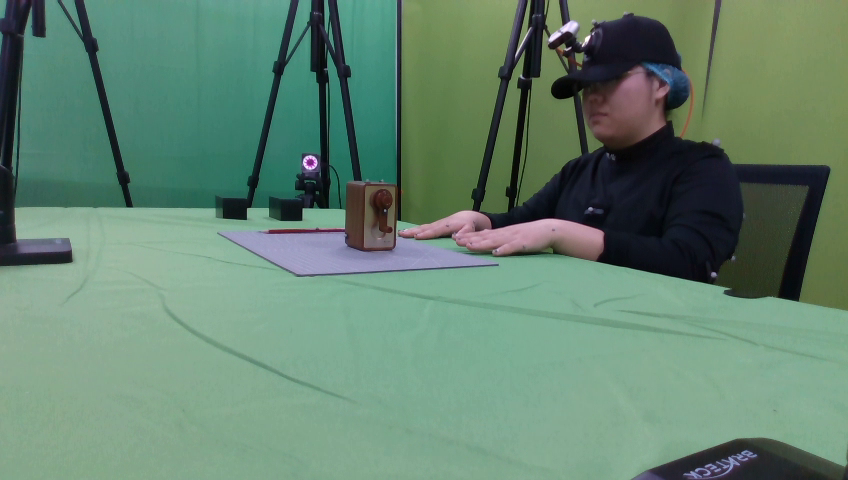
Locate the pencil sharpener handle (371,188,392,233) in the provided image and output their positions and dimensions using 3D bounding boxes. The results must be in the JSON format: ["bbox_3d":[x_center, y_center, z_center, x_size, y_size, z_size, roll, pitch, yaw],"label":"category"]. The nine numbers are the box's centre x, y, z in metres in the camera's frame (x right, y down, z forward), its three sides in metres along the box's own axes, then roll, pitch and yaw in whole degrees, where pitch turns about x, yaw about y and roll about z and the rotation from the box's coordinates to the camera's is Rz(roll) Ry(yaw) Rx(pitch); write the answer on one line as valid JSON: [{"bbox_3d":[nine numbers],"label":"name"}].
[{"bbox_3d":[-0.058,-0.044,0.913,0.036,0.067,0.030,-1,9,-31],"label":"pencil sharpener handle"}]

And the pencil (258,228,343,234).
[{"bbox_3d":[-0.213,-0.017,1.131,0.195,0.012,0.012,-2,8,-26],"label":"pencil"}]

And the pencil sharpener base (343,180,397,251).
[{"bbox_3d":[-0.085,-0.039,0.958,0.062,0.107,0.076,-1,8,-31],"label":"pencil sharpener base"}]
